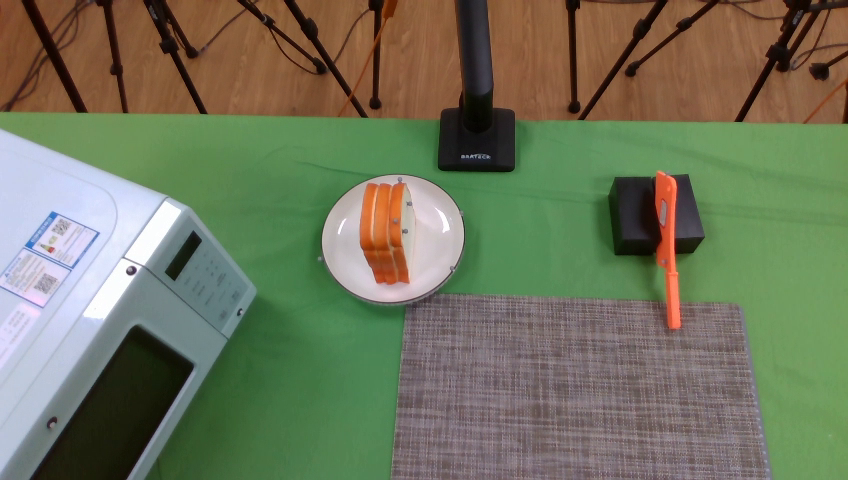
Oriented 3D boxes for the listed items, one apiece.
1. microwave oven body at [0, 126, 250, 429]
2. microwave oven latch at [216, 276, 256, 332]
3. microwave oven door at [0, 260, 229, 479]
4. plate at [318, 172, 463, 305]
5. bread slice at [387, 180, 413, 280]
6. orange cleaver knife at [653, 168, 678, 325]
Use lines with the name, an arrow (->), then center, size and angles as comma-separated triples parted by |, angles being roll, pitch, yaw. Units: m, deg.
microwave oven body -> -0.474, 0.136, 0.704 | 0.325, 0.262, 0.439 | 21, 68, 13
microwave oven latch -> -0.259, 0.084, 0.823 | 0.030, 0.030, 0.079 | 21, 68, 13
microwave oven door -> -0.358, 0.218, 0.650 | 0.039, 0.246, 0.354 | 20, 67, 14
plate -> -0.046, -0.001, 0.872 | 0.207, 0.039, 0.206 | -1, 64, 3
bread slice -> -0.030, -0.016, 0.816 | 0.018, 0.135, 0.106 | -1, 67, 6
orange cleaver knife -> 0.323, 0.007, 0.815 | 0.012, 0.077, 0.211 | -3, 93, 2
